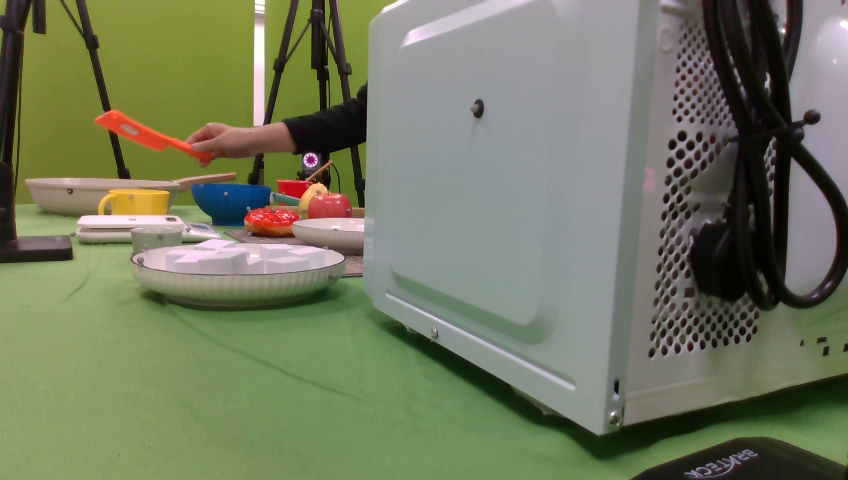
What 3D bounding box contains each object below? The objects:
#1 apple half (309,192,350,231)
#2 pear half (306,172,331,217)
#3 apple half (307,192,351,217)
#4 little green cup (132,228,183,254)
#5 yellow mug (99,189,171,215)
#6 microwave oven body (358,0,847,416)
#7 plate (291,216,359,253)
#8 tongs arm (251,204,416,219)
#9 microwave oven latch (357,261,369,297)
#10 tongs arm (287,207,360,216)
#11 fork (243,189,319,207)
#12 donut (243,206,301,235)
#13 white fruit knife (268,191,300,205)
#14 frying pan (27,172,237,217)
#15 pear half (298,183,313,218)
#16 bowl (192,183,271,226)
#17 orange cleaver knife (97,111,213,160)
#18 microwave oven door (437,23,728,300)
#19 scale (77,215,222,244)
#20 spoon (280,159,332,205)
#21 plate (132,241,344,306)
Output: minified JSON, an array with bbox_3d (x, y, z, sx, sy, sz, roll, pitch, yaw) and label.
[{"bbox_3d":[-0.173,-0.054,1.125,0.081,0.081,0.033,2,10,2],"label":"apple half"},{"bbox_3d":[-0.199,-0.080,1.203,0.056,0.110,0.076,2,12,2],"label":"pear half"},{"bbox_3d":[-0.174,-0.049,1.087,0.081,0.074,0.053,6,10,2],"label":"apple half"},{"bbox_3d":[-0.342,0.006,0.779,0.061,0.038,0.061,2,8,0],"label":"little green cup"},{"bbox_3d":[-0.519,-0.055,1.080,0.099,0.064,0.131,6,9,26],"label":"yellow mug"},{"bbox_3d":[0.211,-0.047,0.474,0.444,0.260,0.324,-1,7,-28],"label":"microwave oven body"},{"bbox_3d":[-0.103,-0.009,0.945,0.209,0.038,0.209,2,8,0],"label":"plate"},{"bbox_3d":[-0.211,-0.067,1.440,0.389,0.027,0.028,1,-1,-17],"label":"tongs arm"},{"bbox_3d":[-0.019,0.033,0.530,0.079,0.029,0.030,-1,7,-26],"label":"microwave oven latch"},{"bbox_3d":[-0.174,-0.060,1.363,0.387,0.026,0.050,-1,3,-31],"label":"tongs arm"},{"bbox_3d":[-0.356,-0.105,1.526,0.208,0.018,0.028,15,-6,-41],"label":"fork"},{"bbox_3d":[-0.261,-0.032,1.043,0.099,0.048,0.099,3,9,0],"label":"donut"},{"bbox_3d":[-0.364,-0.105,1.464,0.208,0.027,0.016,15,0,-34],"label":"white fruit knife"},{"bbox_3d":[-0.624,-0.118,1.387,0.305,0.102,0.490,8,17,32],"label":"frying pan"},{"bbox_3d":[-0.235,-0.071,1.207,0.031,0.088,0.070,3,10,0],"label":"pear half"},{"bbox_3d":[-0.382,-0.070,1.202,0.151,0.077,0.151,3,7,0],"label":"bowl"},{"bbox_3d":[-0.526,-0.199,1.191,0.212,0.012,0.077,23,-30,-35],"label":"orange cleaver knife"},{"bbox_3d":[0.181,-0.073,0.621,0.358,0.243,0.039,-2,8,-29],"label":"microwave oven door"},{"bbox_3d":[-0.434,-0.019,0.963,0.202,0.031,0.148,-1,9,-27],"label":"scale"},{"bbox_3d":[-0.317,-0.159,1.640,0.194,0.022,0.041,-50,32,-20],"label":"spoon"},{"bbox_3d":[-0.187,0.033,0.625,0.208,0.039,0.207,2,8,0],"label":"plate"}]
